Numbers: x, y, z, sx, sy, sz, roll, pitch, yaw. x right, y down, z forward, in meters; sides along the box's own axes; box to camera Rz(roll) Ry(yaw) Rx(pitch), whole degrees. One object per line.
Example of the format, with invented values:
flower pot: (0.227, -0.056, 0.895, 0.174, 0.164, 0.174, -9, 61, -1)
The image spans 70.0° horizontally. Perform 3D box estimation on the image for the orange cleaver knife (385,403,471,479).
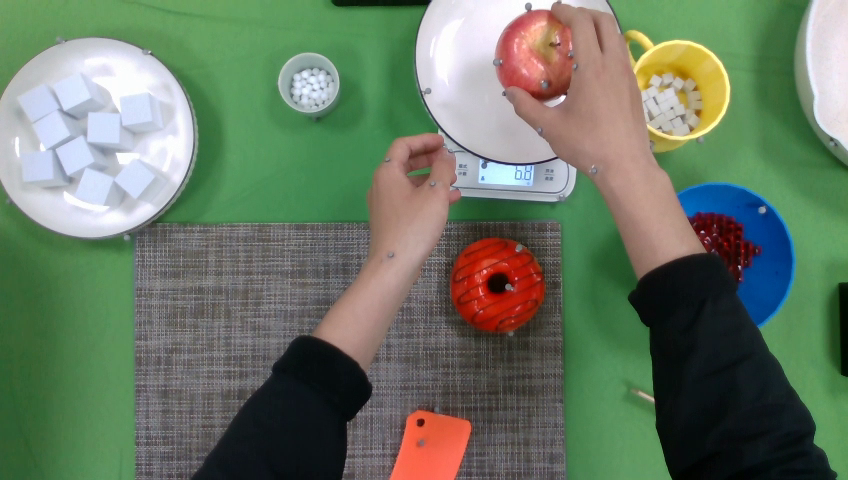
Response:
orange cleaver knife: (-0.022, 0.266, 0.628, 0.077, 0.012, 0.211, 28, 86, -6)

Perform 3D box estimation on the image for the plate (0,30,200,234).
plate: (-0.333, -0.109, 0.627, 0.208, 0.039, 0.207, 0, 89, -1)

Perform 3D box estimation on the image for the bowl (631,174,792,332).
bowl: (0.275, 0.013, 0.612, 0.151, 0.077, 0.151, 0, 90, 0)

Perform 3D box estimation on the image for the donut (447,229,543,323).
donut: (0.072, 0.037, 0.622, 0.099, 0.048, 0.099, 0, 91, 1)

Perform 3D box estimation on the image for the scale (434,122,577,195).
scale: (0.089, -0.151, 0.636, 0.149, 0.031, 0.200, 4, 89, 0)

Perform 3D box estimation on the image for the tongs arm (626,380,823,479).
tongs arm: (0.382, 0.247, 0.633, 0.387, 0.028, 0.028, 30, 81, 0)

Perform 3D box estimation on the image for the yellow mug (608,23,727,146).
yellow mug: (0.238, -0.165, 0.621, 0.100, 0.064, 0.130, -33, 88, 0)

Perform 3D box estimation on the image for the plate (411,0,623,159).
plate: (0.090, -0.182, 0.604, 0.209, 0.038, 0.209, 0, 89, -1)

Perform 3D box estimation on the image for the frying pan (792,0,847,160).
frying pan: (0.562, -0.102, 0.604, 0.307, 0.103, 0.486, -27, 81, 0)

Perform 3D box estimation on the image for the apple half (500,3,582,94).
apple half: (0.111, -0.179, 0.551, 0.053, 0.075, 0.081, -43, 88, -4)

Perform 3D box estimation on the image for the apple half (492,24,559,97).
apple half: (0.083, -0.153, 0.549, 0.033, 0.081, 0.081, -43, 89, -3)

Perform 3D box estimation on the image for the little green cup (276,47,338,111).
little green cup: (-0.119, -0.165, 0.631, 0.061, 0.038, 0.061, 0, 88, 0)
